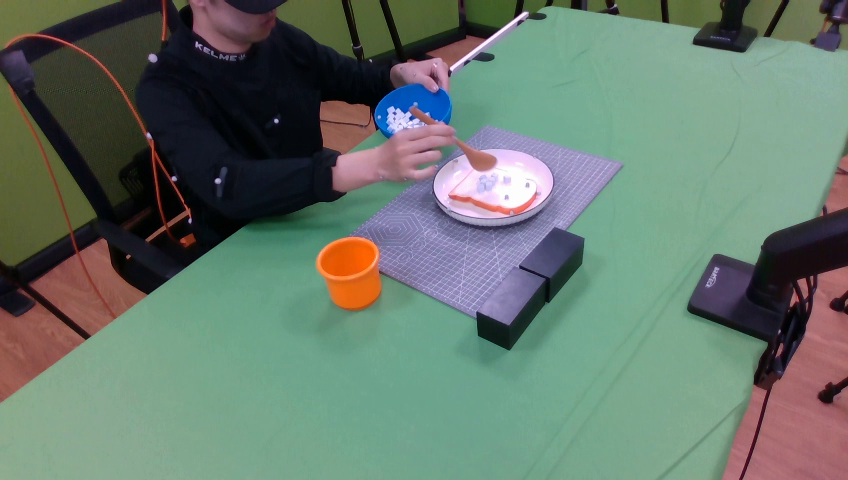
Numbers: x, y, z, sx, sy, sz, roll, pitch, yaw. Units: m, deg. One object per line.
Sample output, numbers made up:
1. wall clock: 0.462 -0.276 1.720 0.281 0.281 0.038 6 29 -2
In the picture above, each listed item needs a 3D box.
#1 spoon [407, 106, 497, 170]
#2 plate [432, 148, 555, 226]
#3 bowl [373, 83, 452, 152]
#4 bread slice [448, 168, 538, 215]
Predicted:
1. spoon: 0.045 -0.160 0.958 0.041 0.195 0.021 -36 39 34
2. plate: 0.119 -0.087 1.037 0.209 0.038 0.208 -4 40 4
3. bowl: -0.015 -0.224 1.167 0.151 0.077 0.150 -6 51 8
4. bread slice: 0.126 -0.085 1.038 0.133 0.018 0.107 16 45 27
